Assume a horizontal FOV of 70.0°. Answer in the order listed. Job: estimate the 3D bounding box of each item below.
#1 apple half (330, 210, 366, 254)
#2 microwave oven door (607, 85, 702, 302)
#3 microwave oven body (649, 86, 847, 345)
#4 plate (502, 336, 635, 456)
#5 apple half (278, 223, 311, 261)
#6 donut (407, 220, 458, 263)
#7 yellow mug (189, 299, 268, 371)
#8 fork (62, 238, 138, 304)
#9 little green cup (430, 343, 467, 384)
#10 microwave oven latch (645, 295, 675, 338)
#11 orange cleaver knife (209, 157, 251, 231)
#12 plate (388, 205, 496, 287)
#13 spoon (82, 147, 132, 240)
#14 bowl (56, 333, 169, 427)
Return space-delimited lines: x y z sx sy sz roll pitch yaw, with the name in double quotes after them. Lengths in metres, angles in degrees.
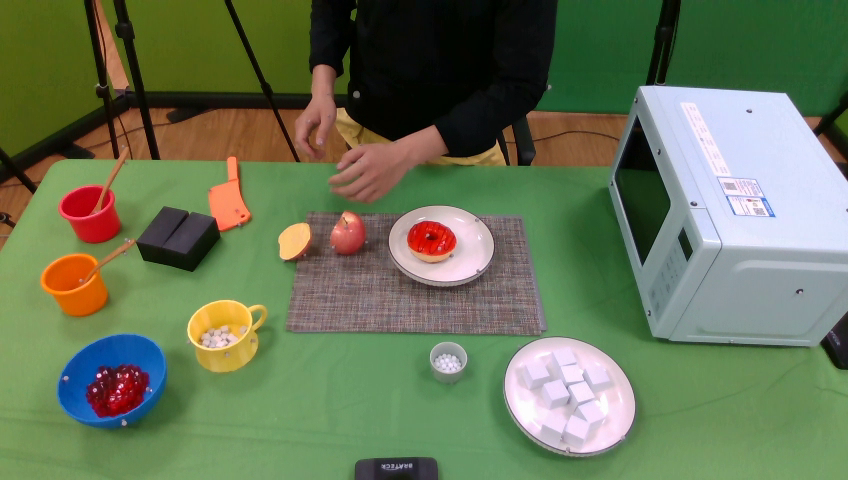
-0.140 -0.009 1.157 0.053 0.075 0.080 17 44 8 "apple half"
0.423 -0.094 1.141 0.039 0.245 0.353 2 46 -1 "microwave oven door"
0.568 -0.053 1.118 0.326 0.261 0.439 2 45 -1 "microwave oven body"
0.225 0.248 0.964 0.208 0.039 0.206 2 46 -2 "plate"
-0.241 0.007 1.157 0.081 0.033 0.081 -17 54 25 "apple half"
0.016 0.002 1.166 0.099 0.048 0.098 3 44 -2 "donut"
-0.316 0.148 1.002 0.131 0.064 0.099 -33 56 -31 "yellow mug"
-0.547 0.053 1.018 0.207 0.019 0.028 -36 41 23 "fork"
0.039 0.203 0.993 0.061 0.039 0.061 2 46 -2 "little green cup"
0.412 0.134 1.062 0.030 0.029 0.078 3 45 0 "microwave oven latch"
-0.409 -0.099 1.266 0.077 0.012 0.210 -14 50 -9 "orange cleaver knife"
0.033 0.014 1.171 0.209 0.038 0.208 2 46 -2 "plate"
-0.602 -0.089 1.156 0.041 0.022 0.193 27 95 19 "spoon"
-0.456 0.223 0.911 0.151 0.077 0.150 3 46 -2 "bowl"
